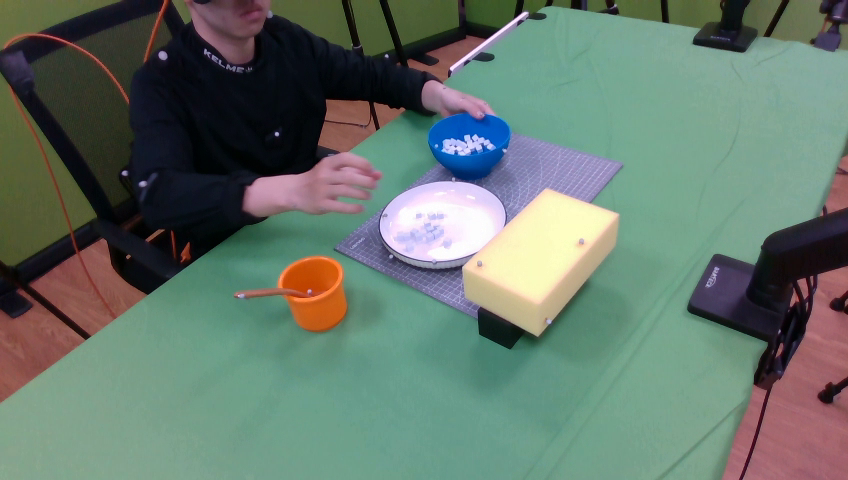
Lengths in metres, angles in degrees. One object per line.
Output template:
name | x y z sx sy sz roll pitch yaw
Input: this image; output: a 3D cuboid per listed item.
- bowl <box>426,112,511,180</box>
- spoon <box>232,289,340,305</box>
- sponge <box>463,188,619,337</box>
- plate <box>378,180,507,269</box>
bowl | 0.084 -0.161 1.098 0.151 0.077 0.150 -4 40 4
spoon | -0.181 0.074 0.811 0.041 0.195 0.021 14 90 31
sponge | 0.160 0.022 0.814 0.117 0.061 0.207 25 50 32
plate | 0.031 -0.022 0.974 0.209 0.038 0.208 -4 40 4
